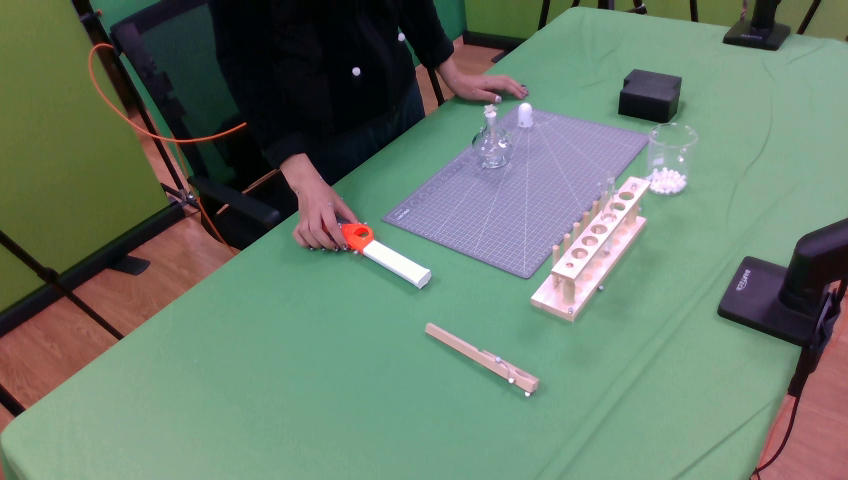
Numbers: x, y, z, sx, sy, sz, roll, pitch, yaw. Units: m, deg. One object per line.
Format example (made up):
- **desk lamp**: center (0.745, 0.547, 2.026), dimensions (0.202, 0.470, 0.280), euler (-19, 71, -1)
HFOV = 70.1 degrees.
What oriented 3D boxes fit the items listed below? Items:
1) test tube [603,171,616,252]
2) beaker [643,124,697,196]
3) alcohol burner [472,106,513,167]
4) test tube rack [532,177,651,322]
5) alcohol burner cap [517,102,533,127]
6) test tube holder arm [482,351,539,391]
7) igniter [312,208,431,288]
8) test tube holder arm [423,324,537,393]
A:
- **test tube**: center (0.259, -0.036, 0.848), dimensions (0.017, 0.151, 0.017), euler (-8, 46, 9)
- **beaker**: center (0.407, -0.132, 1.001), dimensions (0.084, 0.101, 0.073), euler (-20, 42, -13)
- **alcohol burner**: center (0.125, -0.195, 1.111), dimensions (0.078, 0.119, 0.077), euler (-5, 42, 5)
- **test tube rack**: center (0.247, 0.002, 0.883), dimensions (0.066, 0.085, 0.243), euler (23, 49, 32)
- **alcohol burner cap**: center (0.205, -0.255, 1.223), dimensions (0.034, 0.048, 0.033), euler (-6, 40, 5)
- **test tube holder arm**: center (0.107, 0.166, 0.769), dimensions (0.087, 0.015, 0.010), euler (24, 16, 34)
- **igniter**: center (-0.096, 0.007, 0.986), dimensions (0.274, 0.025, 0.057), euler (28, 58, 36)
- **test tube holder arm**: center (0.069, 0.151, 0.789), dimensions (0.177, 0.015, 0.013), euler (23, 16, 33)
